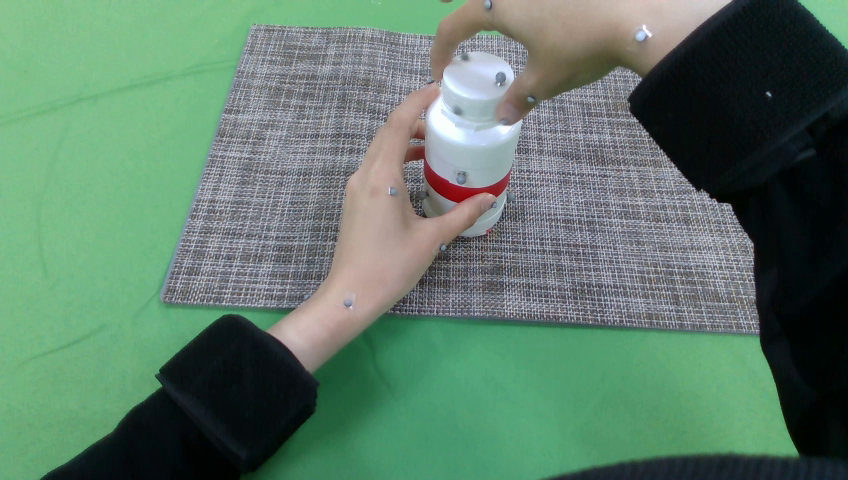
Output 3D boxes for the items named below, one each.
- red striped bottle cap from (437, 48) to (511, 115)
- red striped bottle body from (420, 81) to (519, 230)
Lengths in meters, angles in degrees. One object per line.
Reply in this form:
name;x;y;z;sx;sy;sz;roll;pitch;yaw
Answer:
red striped bottle cap;0.030;-0.097;0.366;0.044;0.018;0.044;3;53;-4
red striped bottle body;0.029;-0.065;0.413;0.063;0.120;0.062;1;56;-1
